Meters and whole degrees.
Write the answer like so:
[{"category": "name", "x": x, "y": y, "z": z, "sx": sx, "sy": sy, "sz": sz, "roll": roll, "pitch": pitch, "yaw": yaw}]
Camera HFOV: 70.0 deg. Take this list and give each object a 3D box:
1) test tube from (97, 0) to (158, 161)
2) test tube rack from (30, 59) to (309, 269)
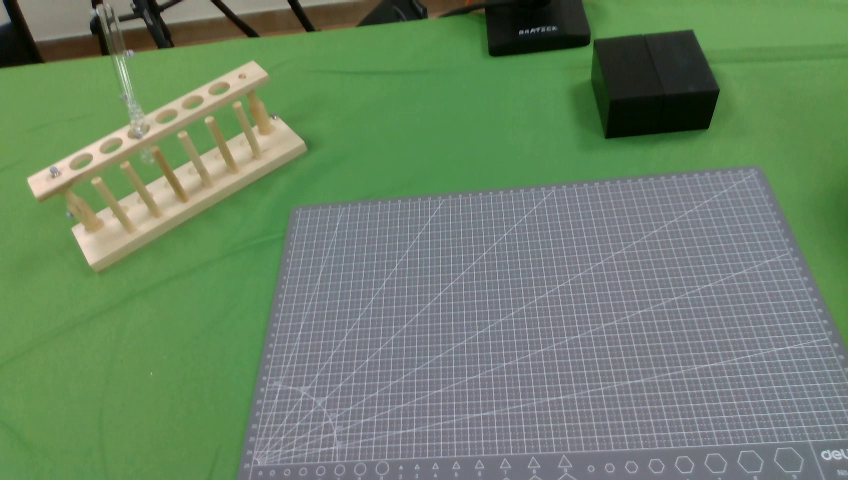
[{"category": "test tube", "x": -0.277, "y": -0.149, "z": 0.571, "sx": 0.017, "sy": 0.151, "sz": 0.017, "roll": -7, "pitch": 20, "yaw": 3}, {"category": "test tube rack", "x": -0.246, "y": -0.081, "z": 0.611, "sx": 0.242, "sy": 0.086, "sz": 0.066, "roll": -34, "pitch": 54, "yaw": -17}]
